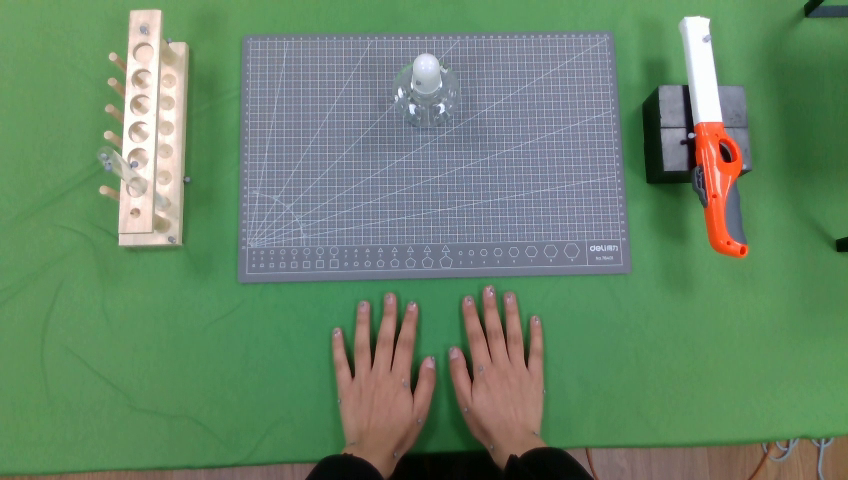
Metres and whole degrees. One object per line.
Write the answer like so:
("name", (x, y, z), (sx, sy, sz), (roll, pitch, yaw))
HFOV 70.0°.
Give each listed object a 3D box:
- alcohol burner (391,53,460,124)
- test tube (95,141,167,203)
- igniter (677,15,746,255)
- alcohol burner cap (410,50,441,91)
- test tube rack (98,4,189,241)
("alcohol burner", (0.001, -0.174, 0.667), (0.078, 0.119, 0.077), (0, 82, 0))
("test tube", (-0.289, -0.064, 0.608), (0.017, 0.150, 0.017), (1, 76, -4))
("igniter", (0.314, -0.118, 0.667), (0.057, 0.025, 0.275), (-2, 79, -5))
("alcohol burner cap", (0.001, -0.179, 0.632), (0.034, 0.048, 0.033), (0, 81, 1))
("test tube rack", (-0.312, -0.125, 0.667), (0.067, 0.085, 0.241), (-1, 81, -1))
